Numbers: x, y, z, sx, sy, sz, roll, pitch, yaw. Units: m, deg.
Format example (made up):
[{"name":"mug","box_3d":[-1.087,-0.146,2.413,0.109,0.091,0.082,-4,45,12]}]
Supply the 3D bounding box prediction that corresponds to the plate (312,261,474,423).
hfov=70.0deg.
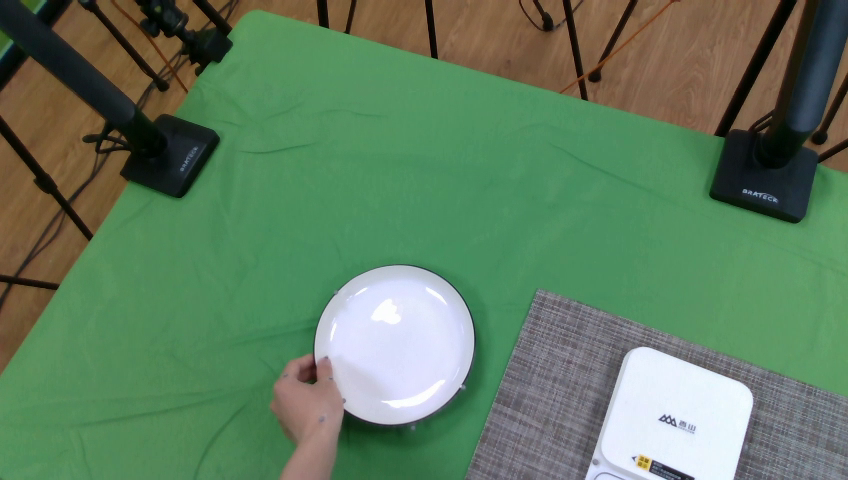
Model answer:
[{"name":"plate","box_3d":[-0.038,0.129,0.776,0.209,0.038,0.207,-2,67,6]}]

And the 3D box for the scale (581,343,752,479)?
[{"name":"scale","box_3d":[0.278,0.231,0.695,0.148,0.032,0.200,20,71,15]}]
